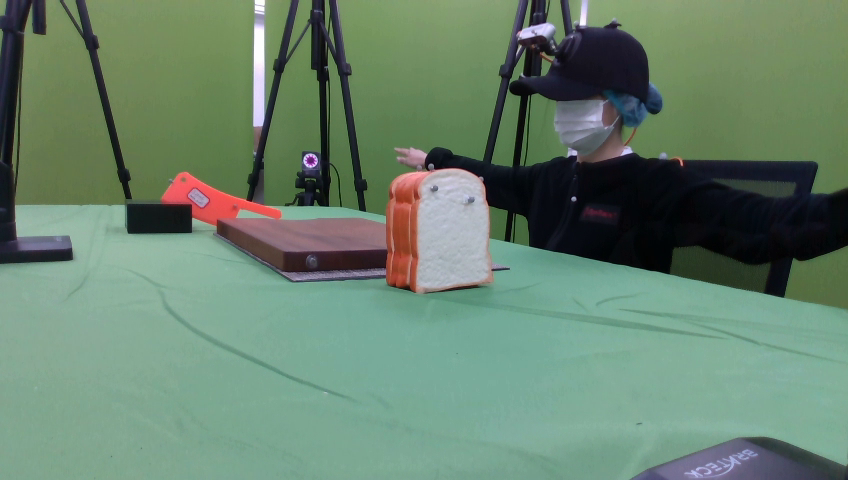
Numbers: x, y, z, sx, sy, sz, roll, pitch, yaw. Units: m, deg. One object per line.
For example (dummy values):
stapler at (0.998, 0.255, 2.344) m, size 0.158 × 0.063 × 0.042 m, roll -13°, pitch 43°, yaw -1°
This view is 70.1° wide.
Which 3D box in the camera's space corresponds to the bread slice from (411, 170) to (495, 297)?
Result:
bread slice at (0.028, -0.009, 0.660) m, size 0.107 × 0.134 × 0.018 m, roll -9°, pitch 7°, yaw -36°

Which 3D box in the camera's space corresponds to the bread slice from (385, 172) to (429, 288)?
bread slice at (0.001, -0.013, 0.704) m, size 0.105 × 0.131 × 0.019 m, roll -1°, pitch 1°, yaw -33°

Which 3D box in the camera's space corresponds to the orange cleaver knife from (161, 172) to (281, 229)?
orange cleaver knife at (-0.372, -0.061, 1.121) m, size 0.212 × 0.077 × 0.012 m, roll 20°, pitch -6°, yaw -30°
